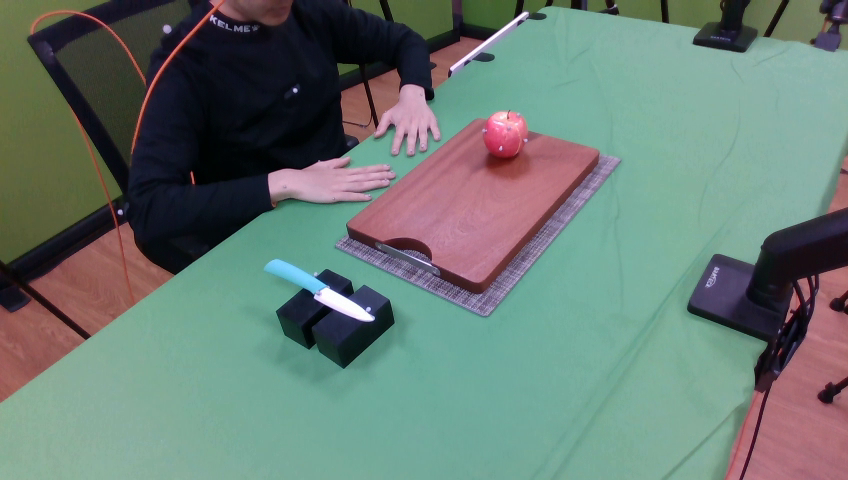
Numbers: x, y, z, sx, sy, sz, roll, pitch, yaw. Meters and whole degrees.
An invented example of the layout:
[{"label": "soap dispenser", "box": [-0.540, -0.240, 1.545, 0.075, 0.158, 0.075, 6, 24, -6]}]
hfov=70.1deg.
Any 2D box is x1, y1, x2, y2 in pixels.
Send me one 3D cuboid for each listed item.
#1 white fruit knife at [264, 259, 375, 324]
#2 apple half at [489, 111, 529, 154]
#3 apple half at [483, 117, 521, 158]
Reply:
[{"label": "white fruit knife", "box": [-0.147, 0.070, 0.840, 0.206, 0.016, 0.027, 24, 79, 29]}, {"label": "apple half", "box": [0.156, -0.197, 1.092, 0.080, 0.075, 0.053, 21, 44, 34]}, {"label": "apple half", "box": [0.131, -0.175, 1.069, 0.080, 0.081, 0.033, 24, 48, 32]}]
